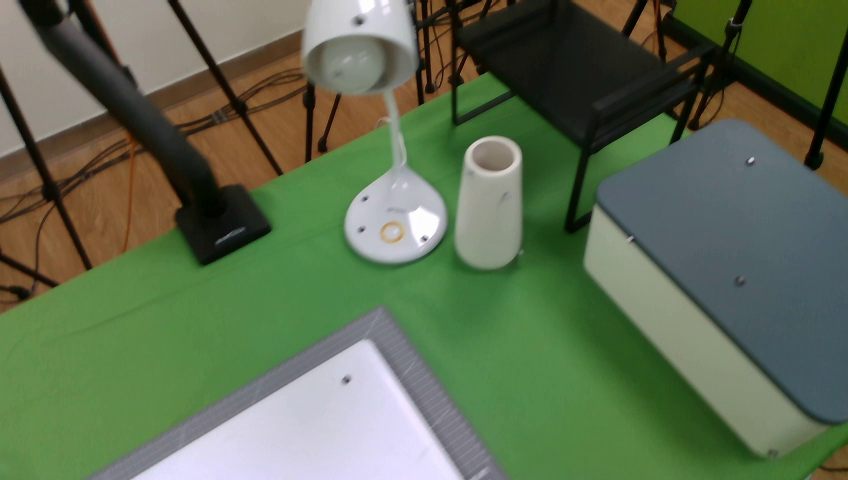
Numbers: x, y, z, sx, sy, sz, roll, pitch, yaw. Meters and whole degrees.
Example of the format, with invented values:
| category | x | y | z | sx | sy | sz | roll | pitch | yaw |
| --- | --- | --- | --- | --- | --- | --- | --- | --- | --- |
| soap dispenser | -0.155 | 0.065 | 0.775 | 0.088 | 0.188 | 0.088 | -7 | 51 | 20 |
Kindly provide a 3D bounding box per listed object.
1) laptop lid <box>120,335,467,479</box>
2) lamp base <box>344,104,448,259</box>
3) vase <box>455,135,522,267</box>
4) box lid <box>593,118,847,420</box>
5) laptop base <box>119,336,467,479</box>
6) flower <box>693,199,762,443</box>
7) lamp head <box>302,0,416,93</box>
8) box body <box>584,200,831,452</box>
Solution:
| category | x | y | z | sx | sy | sz | roll | pitch | yaw |
| --- | --- | --- | --- | --- | --- | --- | --- | --- | --- |
| laptop lid | -0.155 | 0.282 | 0.698 | 0.357 | 0.013 | 0.239 | -28 | 60 | -17 |
| lamp base | -0.047 | -0.092 | 0.883 | 0.160 | 0.182 | 0.177 | -1 | 51 | 2 |
| vase | 0.089 | -0.050 | 0.834 | 0.098 | 0.202 | 0.097 | -2 | 53 | 4 |
| box lid | 0.406 | 0.003 | 0.710 | 0.263 | 0.015 | 0.367 | -27 | 57 | -17 |
| laptop base | -0.156 | 0.287 | 0.708 | 0.354 | 0.023 | 0.233 | -29 | 61 | -18 |
| flower | 0.412 | 0.093 | 0.816 | 0.044 | 0.038 | 0.358 | -14 | 50 | 27 |
| lamp head | -0.067 | -0.223 | 0.608 | 0.112 | 0.113 | 0.122 | -4 | 71 | 0 |
| box body | 0.411 | 0.048 | 0.770 | 0.254 | 0.162 | 0.360 | -27 | 57 | -16 |
